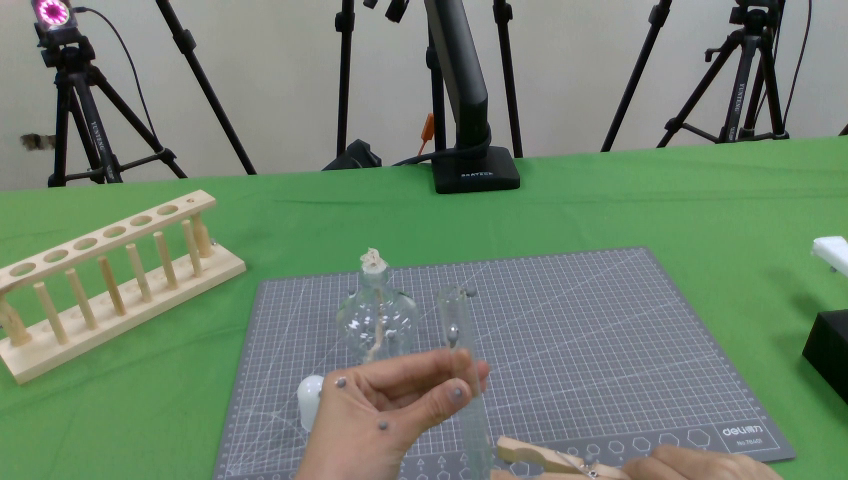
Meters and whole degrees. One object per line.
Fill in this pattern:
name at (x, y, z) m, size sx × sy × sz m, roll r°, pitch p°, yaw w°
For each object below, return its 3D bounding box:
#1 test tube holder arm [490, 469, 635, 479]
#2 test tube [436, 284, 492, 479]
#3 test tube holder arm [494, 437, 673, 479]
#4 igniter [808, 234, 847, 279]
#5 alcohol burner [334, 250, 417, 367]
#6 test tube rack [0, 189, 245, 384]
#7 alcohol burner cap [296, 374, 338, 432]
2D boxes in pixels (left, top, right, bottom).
test tube holder arm at (0.083, 0.143, 0.358) m, size 0.087 × 0.015 × 0.010 m, roll -4°, pitch 40°, yaw 11°
test tube at (0.025, 0.092, 0.354) m, size 0.017 × 0.151 × 0.017 m, roll -8°, pitch 27°, yaw 5°
test tube holder arm at (0.127, 0.142, 0.348) m, size 0.177 × 0.015 × 0.013 m, roll 7°, pitch 44°, yaw 22°
igniter at (0.418, 0.069, 0.498) m, size 0.057 × 0.025 × 0.274 m, roll -6°, pitch 30°, yaw -3°
alcohol burner at (-0.045, 0.057, 0.549) m, size 0.078 × 0.120 × 0.077 m, roll -1°, pitch 35°, yaw 1°
test tube rack at (-0.317, 0.038, 0.628) m, size 0.066 × 0.086 × 0.242 m, roll 27°, pitch 43°, yaw 37°
alcohol burner cap at (-0.090, 0.132, 0.503) m, size 0.034 × 0.048 × 0.033 m, roll -1°, pitch 34°, yaw 1°
